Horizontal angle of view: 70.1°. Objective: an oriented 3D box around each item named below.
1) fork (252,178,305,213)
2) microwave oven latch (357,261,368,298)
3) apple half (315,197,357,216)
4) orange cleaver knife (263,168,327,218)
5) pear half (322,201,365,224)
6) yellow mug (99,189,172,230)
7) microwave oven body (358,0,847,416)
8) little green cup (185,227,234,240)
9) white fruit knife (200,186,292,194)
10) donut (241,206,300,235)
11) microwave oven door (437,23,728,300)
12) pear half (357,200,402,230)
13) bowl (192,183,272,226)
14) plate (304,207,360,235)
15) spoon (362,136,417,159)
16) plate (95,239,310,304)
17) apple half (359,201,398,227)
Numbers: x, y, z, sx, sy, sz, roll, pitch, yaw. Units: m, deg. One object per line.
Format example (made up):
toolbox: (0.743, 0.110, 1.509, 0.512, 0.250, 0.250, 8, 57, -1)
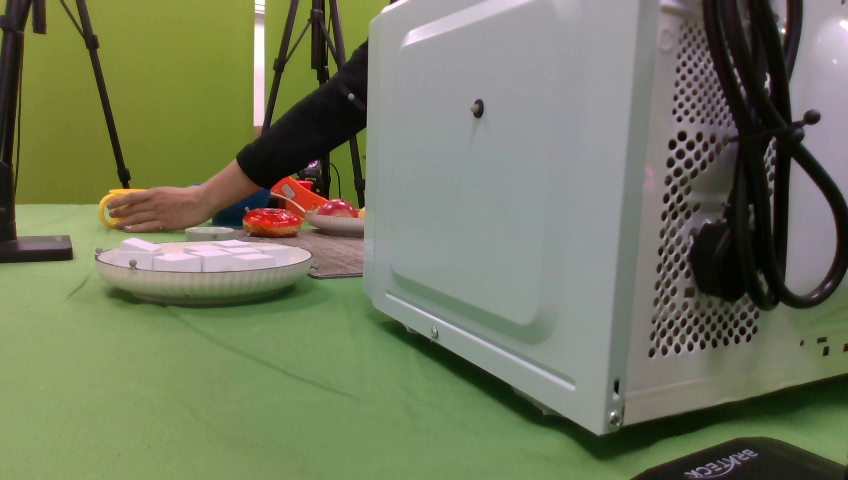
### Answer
fork: (-0.295, -0.083, 1.292, 0.206, 0.018, 0.028, 29, 10, 25)
microwave oven latch: (-0.019, 0.033, 0.530, 0.079, 0.029, 0.030, -1, 7, -26)
apple half: (-0.162, -0.052, 1.121, 0.081, 0.053, 0.074, 4, 7, -14)
orange cleaver knife: (-0.262, -0.088, 1.353, 0.211, 0.077, 0.012, 28, 13, -1)
pear half: (-0.157, -0.059, 1.197, 0.088, 0.031, 0.070, 12, 30, -4)
yellow mug: (-0.518, -0.055, 1.080, 0.099, 0.064, 0.131, 6, 10, 26)
microwave oven body: (0.211, -0.047, 0.474, 0.444, 0.260, 0.324, -1, 7, -28)
little green cup: (-0.285, 0.005, 0.805, 0.061, 0.038, 0.061, 2, 8, 0)
white fruit knife: (-0.399, -0.111, 1.368, 0.208, 0.016, 0.027, -4, -19, -30)
donut: (-0.263, -0.032, 1.039, 0.099, 0.048, 0.099, 4, 9, 0)
microwave oven door: (0.181, -0.073, 0.621, 0.358, 0.243, 0.039, -2, 8, -29)
pear half: (-0.075, -0.047, 1.133, 0.076, 0.056, 0.110, 13, 8, 31)
bowl: (-0.382, -0.071, 1.202, 0.151, 0.077, 0.151, 3, 7, 0)
plate: (-0.123, -0.037, 1.149, 0.209, 0.038, 0.209, 2, 7, 0)
spoon: (-0.078, -0.225, 1.445, 0.041, 0.021, 0.194, -5, 21, 42)
plate: (-0.224, 0.031, 0.629, 0.208, 0.039, 0.207, 2, 7, 0)
apple half: (-0.088, -0.058, 1.190, 0.081, 0.033, 0.081, 10, 29, -5)
